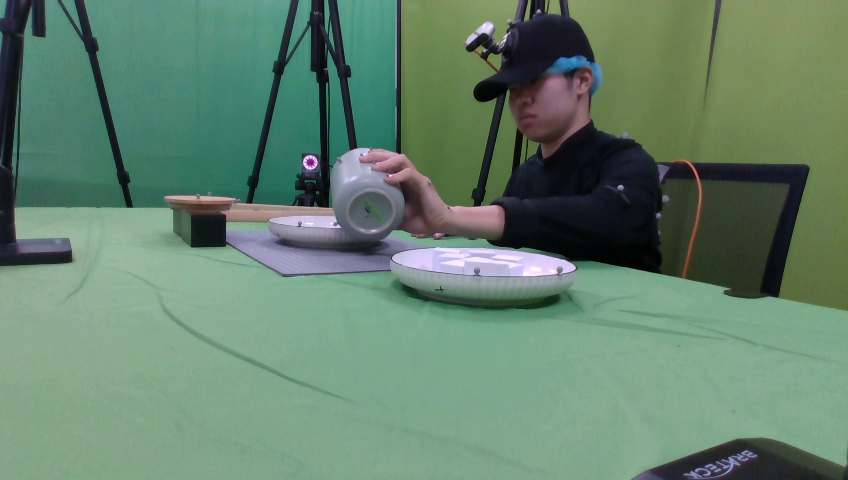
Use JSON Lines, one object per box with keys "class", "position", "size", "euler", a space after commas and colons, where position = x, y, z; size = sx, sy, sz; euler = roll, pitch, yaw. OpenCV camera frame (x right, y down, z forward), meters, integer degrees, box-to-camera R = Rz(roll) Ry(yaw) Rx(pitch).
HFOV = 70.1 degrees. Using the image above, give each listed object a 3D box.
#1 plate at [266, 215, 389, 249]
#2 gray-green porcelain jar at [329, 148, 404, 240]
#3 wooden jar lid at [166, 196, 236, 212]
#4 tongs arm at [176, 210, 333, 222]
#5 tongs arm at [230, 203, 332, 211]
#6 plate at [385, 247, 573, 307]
{"class": "plate", "position": [-0.159, -0.015, 1.019], "size": [0.209, 0.038, 0.209], "euler": [3, 7, 0]}
{"class": "gray-green porcelain jar", "position": [-0.087, -0.067, 0.904], "size": [0.106, 0.106, 0.126], "euler": [1, 28, -12]}
{"class": "wooden jar lid", "position": [-0.369, -0.060, 1.001], "size": [0.108, 0.020, 0.108], "euler": [3, 6, 0]}
{"class": "tongs arm", "position": [-0.337, -0.053, 1.329], "size": [0.389, 0.028, 0.028], "euler": [-1, 6, -27]}
{"class": "tongs arm", "position": [-0.362, -0.068, 1.406], "size": [0.386, 0.026, 0.050], "euler": [2, 8, -14]}
{"class": "plate", "position": [0.060, 0.041, 0.678], "size": [0.208, 0.039, 0.207], "euler": [3, 7, 0]}
